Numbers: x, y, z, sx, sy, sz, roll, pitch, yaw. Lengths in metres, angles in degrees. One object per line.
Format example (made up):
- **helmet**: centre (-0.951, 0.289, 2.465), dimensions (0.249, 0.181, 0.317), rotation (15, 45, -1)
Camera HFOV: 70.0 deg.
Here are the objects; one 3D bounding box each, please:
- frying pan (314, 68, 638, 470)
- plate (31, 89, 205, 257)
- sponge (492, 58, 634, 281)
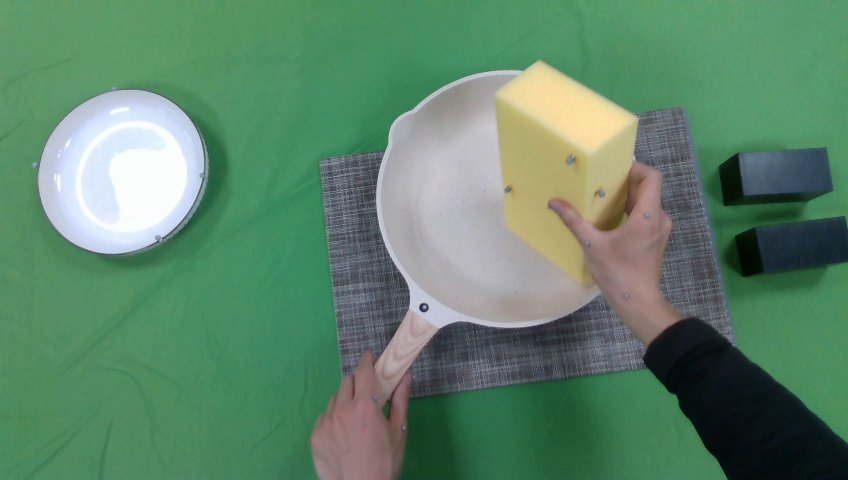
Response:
- **frying pan**: centre (0.031, 0.033, 0.669), dimensions (0.306, 0.103, 0.487), rotation (34, 75, 8)
- **plate**: centre (-0.367, -0.079, 0.741), dimensions (0.207, 0.039, 0.207), rotation (0, 81, 2)
- **sponge**: centre (0.136, -0.063, 0.615), dimensions (0.061, 0.209, 0.117), rotation (-38, 56, -16)
